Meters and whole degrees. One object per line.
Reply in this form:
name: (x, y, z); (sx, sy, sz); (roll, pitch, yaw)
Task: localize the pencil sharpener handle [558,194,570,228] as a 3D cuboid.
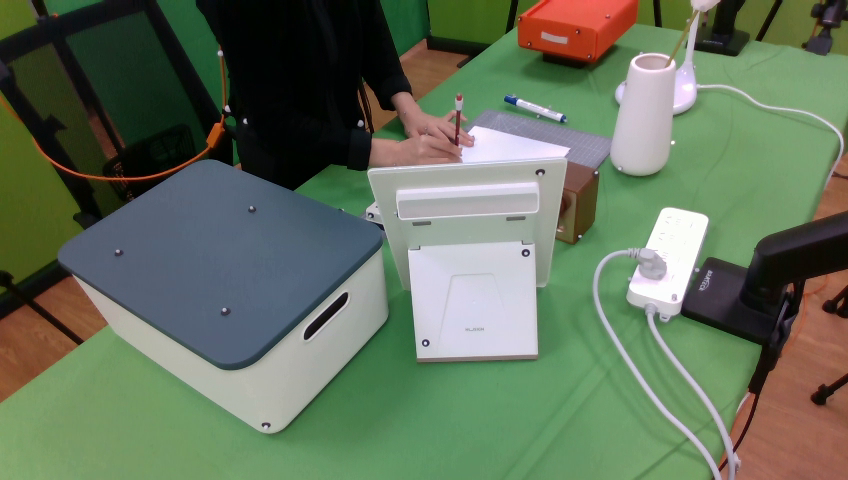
pencil sharpener handle: (0.195, -0.038, 0.908); (0.035, 0.068, 0.031); (24, 50, 30)

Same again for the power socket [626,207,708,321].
power socket: (0.359, 0.025, 0.886); (0.072, 0.033, 0.227); (16, 46, 26)

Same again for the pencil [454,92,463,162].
pencil: (0.057, -0.174, 1.035); (0.012, 0.195, 0.012); (0, 53, 0)

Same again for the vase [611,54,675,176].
vase: (0.377, -0.209, 1.031); (0.098, 0.201, 0.097); (-3, 40, 3)

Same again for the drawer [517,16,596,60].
drawer: (0.353, -0.506, 1.405); (0.193, 0.073, 0.212); (23, 49, 32)

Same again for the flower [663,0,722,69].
flower: (0.379, -0.261, 0.965); (0.044, 0.362, 0.038); (20, 53, 5)

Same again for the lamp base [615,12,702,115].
lamp base: (0.484, -0.363, 1.211); (0.180, 0.181, 0.159); (-15, 41, -14)

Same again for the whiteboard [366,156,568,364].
whiteboard: (0.059, 0.050, 0.738); (0.217, 0.307, 0.143); (-2, 60, 6)

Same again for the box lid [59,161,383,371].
box lid: (-0.262, 0.010, 0.777); (0.369, 0.015, 0.264); (21, 48, 29)

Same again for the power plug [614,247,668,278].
power plug: (0.306, 0.031, 0.851); (0.072, 0.053, 0.035); (24, 49, 33)

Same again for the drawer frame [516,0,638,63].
drawer frame: (0.355, -0.508, 1.411); (0.200, 0.083, 0.214); (23, 51, 32)

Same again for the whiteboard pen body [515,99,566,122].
whiteboard pen body: (0.234, -0.274, 1.262); (0.139, 0.017, 0.017); (28, 51, 29)

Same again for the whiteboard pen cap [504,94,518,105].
whiteboard pen cap: (0.190, -0.299, 1.292); (0.033, 0.018, 0.018); (30, 52, 29)

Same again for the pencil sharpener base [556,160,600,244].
pencil sharpener base: (0.228, -0.057, 0.945); (0.061, 0.107, 0.077); (24, 50, 31)

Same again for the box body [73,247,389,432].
box body: (-0.255, 0.065, 0.827); (0.361, 0.161, 0.255); (21, 48, 29)

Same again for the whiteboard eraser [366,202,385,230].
whiteboard eraser: (-0.037, -0.038, 1.006); (0.112, 0.042, 0.055); (16, 47, 25)
